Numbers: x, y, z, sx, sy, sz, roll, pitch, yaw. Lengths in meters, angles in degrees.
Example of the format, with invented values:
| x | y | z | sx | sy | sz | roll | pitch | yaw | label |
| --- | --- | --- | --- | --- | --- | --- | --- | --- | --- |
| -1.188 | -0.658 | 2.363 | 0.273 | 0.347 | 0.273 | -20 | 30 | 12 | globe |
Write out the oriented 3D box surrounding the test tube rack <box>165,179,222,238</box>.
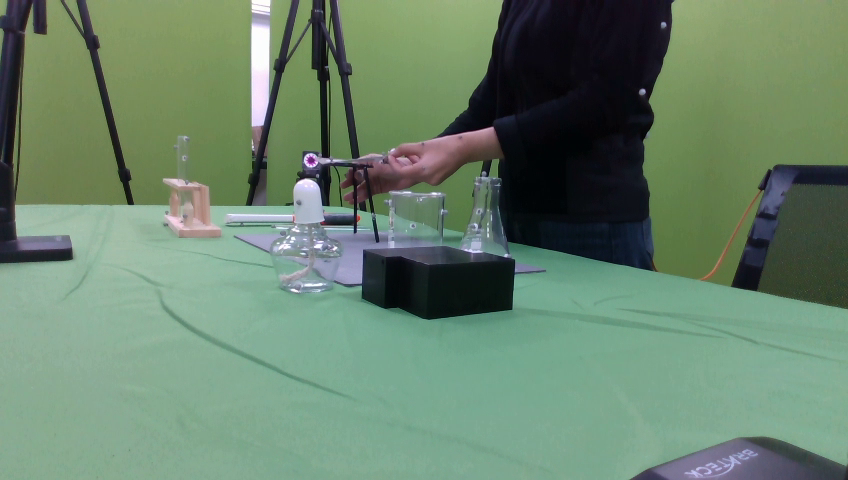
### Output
| x | y | z | sx | sy | sz | roll | pitch | yaw | label |
| --- | --- | --- | --- | --- | --- | --- | --- | --- | --- |
| -0.423 | -0.062 | 1.098 | 0.067 | 0.085 | 0.241 | -2 | 9 | -28 | test tube rack |

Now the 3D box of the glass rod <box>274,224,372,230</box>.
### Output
| x | y | z | sx | sy | sz | roll | pitch | yaw | label |
| --- | --- | --- | --- | --- | --- | --- | --- | --- | --- |
| -0.193 | -0.024 | 1.176 | 0.201 | 0.008 | 0.008 | 1 | 6 | -31 | glass rod |

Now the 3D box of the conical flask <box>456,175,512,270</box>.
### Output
| x | y | z | sx | sy | sz | roll | pitch | yaw | label |
| --- | --- | --- | --- | --- | --- | --- | --- | --- | --- |
| 0.082 | -0.025 | 0.801 | 0.075 | 0.122 | 0.075 | 2 | 7 | 0 | conical flask |

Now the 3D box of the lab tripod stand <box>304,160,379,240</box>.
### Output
| x | y | z | sx | sy | sz | roll | pitch | yaw | label |
| --- | --- | --- | --- | --- | --- | --- | --- | --- | --- |
| -0.131 | -0.071 | 1.046 | 0.148 | 0.131 | 0.148 | 4 | 7 | 0 | lab tripod stand |

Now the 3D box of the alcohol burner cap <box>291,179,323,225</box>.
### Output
| x | y | z | sx | sy | sz | roll | pitch | yaw | label |
| --- | --- | --- | --- | --- | --- | --- | --- | --- | --- |
| -0.124 | -0.040 | 0.632 | 0.034 | 0.048 | 0.034 | -3 | 10 | 1 | alcohol burner cap |

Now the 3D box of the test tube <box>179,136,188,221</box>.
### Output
| x | y | z | sx | sy | sz | roll | pitch | yaw | label |
| --- | --- | --- | --- | --- | --- | --- | --- | --- | --- |
| -0.425 | -0.108 | 1.070 | 0.017 | 0.150 | 0.017 | 4 | 9 | 0 | test tube |

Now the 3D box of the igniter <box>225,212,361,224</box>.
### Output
| x | y | z | sx | sy | sz | roll | pitch | yaw | label |
| --- | --- | --- | --- | --- | --- | --- | --- | --- | --- |
| -0.262 | -0.044 | 1.240 | 0.278 | 0.025 | 0.057 | -2 | -1 | -31 | igniter |

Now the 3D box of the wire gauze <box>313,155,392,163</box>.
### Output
| x | y | z | sx | sy | sz | roll | pitch | yaw | label |
| --- | --- | --- | --- | --- | --- | --- | --- | --- | --- |
| -0.124 | -0.140 | 1.040 | 0.122 | 0.011 | 0.124 | -4 | 9 | -18 | wire gauze |

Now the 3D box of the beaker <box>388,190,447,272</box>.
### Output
| x | y | z | sx | sy | sz | roll | pitch | yaw | label |
| --- | --- | --- | --- | --- | --- | --- | --- | --- | --- |
| -0.010 | -0.013 | 0.771 | 0.074 | 0.100 | 0.084 | 3 | 7 | 4 | beaker |

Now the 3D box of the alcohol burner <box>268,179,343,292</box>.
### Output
| x | y | z | sx | sy | sz | roll | pitch | yaw | label |
| --- | --- | --- | --- | --- | --- | --- | --- | --- | --- |
| -0.124 | -0.005 | 0.637 | 0.078 | 0.119 | 0.078 | 4 | 8 | 0 | alcohol burner |
